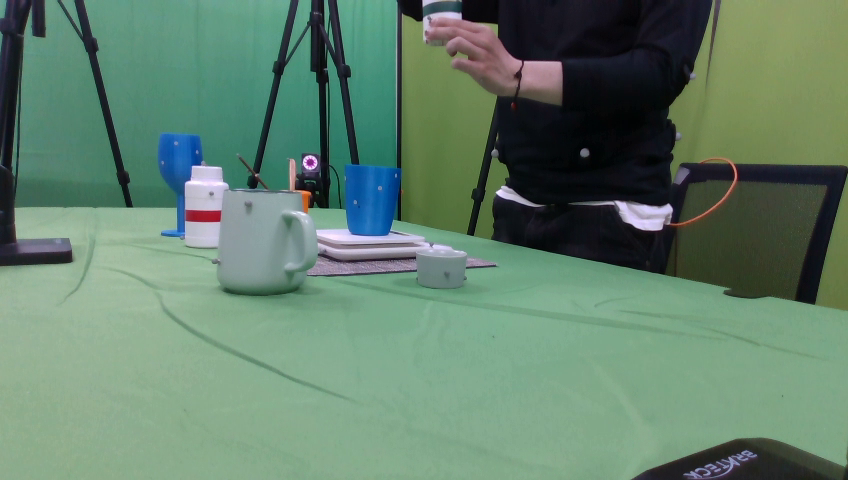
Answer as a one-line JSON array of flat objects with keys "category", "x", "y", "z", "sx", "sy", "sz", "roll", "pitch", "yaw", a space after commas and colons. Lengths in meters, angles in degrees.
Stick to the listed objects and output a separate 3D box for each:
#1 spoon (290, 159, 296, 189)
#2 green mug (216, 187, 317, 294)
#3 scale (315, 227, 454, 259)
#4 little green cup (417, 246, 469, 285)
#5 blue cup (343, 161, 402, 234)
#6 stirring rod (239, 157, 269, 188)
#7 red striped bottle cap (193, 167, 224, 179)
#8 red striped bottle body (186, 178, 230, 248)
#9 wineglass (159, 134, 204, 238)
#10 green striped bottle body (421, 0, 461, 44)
[{"category": "spoon", "x": -0.273, "y": -0.102, "z": 1.252, "sx": 0.042, "sy": 0.193, "sz": 0.021, "roll": 7, "pitch": -38, "yaw": -17}, {"category": "green mug", "x": -0.157, "y": 0.000, "z": 0.629, "sx": 0.124, "sy": 0.105, "sz": 0.093, "roll": 7, "pitch": 9, "yaw": 37}, {"category": "scale", "x": -0.066, "y": 0.001, "z": 0.906, "sx": 0.202, "sy": 0.031, "sz": 0.148, "roll": -2, "pitch": 8, "yaw": -31}, {"category": "little green cup", "x": 0.021, "y": 0.029, "z": 0.701, "sx": 0.061, "sy": 0.038, "sz": 0.061, "roll": 1, "pitch": 6, "yaw": 0}, {"category": "blue cup", "x": -0.078, "y": -0.062, "z": 0.884, "sx": 0.093, "sy": 0.100, "sz": 0.092, "roll": 4, "pitch": 6, "yaw": 0}, {"category": "stirring rod", "x": -0.309, "y": -0.098, "z": 1.209, "sx": 0.006, "sy": 0.177, "sz": 0.014, "roll": -39, "pitch": 29, "yaw": -4}, {"category": "red striped bottle cap", "x": -0.329, "y": -0.103, "z": 0.921, "sx": 0.044, "sy": 0.017, "sz": 0.044, "roll": 0, "pitch": 9, "yaw": 0}, {"category": "red striped bottle body", "x": -0.331, "y": -0.049, "z": 0.927, "sx": 0.063, "sy": 0.119, "sz": 0.063, "roll": 2, "pitch": 7, "yaw": 0}, {"category": "wineglass", "x": -0.415, "y": -0.093, "z": 1.040, "sx": 0.074, "sy": 0.172, "sz": 0.073, "roll": 2, "pitch": 7, "yaw": 0}, {"category": "green striped bottle body", "x": 0.026, "y": -0.377, "z": 0.955, "sx": 0.063, "sy": 0.119, "sz": 0.063, "roll": -2, "pitch": 7, "yaw": 1}]
